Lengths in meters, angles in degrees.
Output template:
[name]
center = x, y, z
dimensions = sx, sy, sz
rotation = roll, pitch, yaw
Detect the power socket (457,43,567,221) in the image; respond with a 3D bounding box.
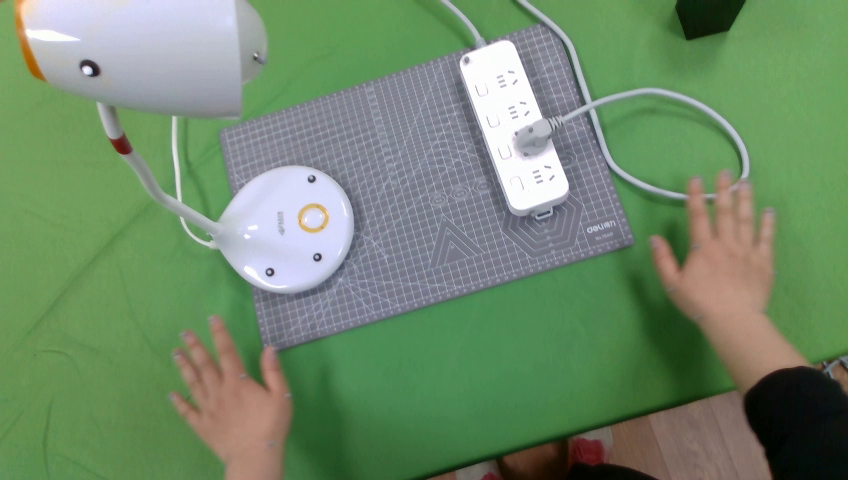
[power socket]
center = 0.102, -0.132, 0.717
dimensions = 0.072, 0.033, 0.225
rotation = -19, 75, 3

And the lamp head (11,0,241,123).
[lamp head]
center = -0.180, -0.123, 0.375
dimensions = 0.123, 0.112, 0.112
rotation = -10, 75, -16

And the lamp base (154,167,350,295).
[lamp base]
center = -0.191, -0.025, 0.661
dimensions = 0.179, 0.181, 0.159
rotation = -21, 75, 6

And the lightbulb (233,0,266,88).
[lightbulb]
center = -0.154, -0.125, 0.376
dimensions = 0.108, 0.059, 0.059
rotation = 0, 76, -20

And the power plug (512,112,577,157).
[power plug]
center = 0.137, -0.115, 0.689
dimensions = 0.072, 0.053, 0.035
rotation = -8, 78, 4
